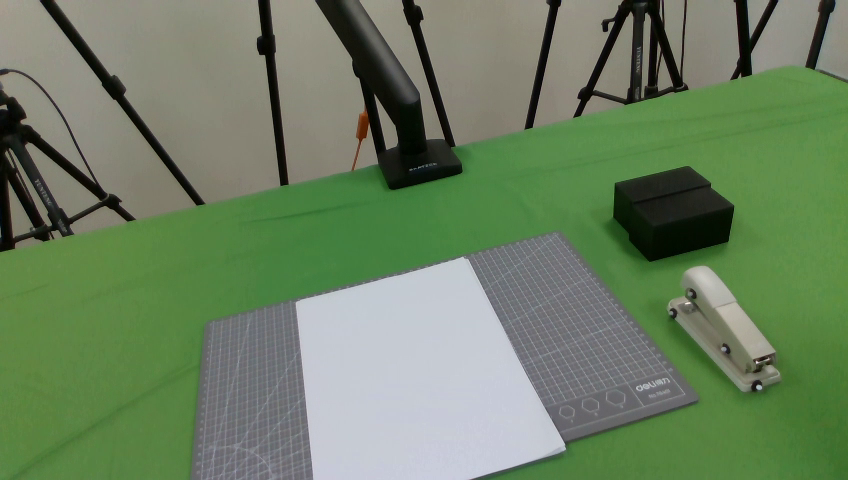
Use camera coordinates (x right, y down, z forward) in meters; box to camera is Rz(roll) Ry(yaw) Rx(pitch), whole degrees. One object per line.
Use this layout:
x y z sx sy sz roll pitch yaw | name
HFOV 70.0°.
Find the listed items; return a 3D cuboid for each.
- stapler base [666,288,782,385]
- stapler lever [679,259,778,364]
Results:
0.286 0.082 0.585 0.041 0.025 0.129 -16 37 -6 | stapler base
0.283 0.063 0.569 0.027 0.040 0.116 -16 37 -6 | stapler lever
